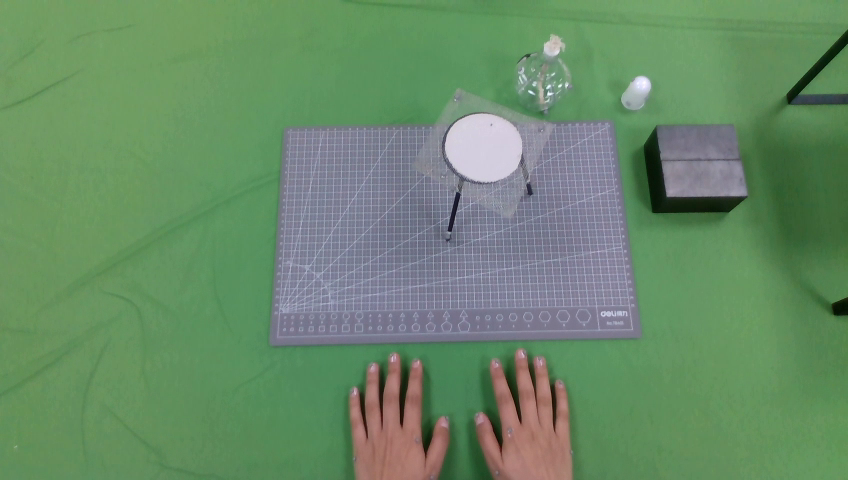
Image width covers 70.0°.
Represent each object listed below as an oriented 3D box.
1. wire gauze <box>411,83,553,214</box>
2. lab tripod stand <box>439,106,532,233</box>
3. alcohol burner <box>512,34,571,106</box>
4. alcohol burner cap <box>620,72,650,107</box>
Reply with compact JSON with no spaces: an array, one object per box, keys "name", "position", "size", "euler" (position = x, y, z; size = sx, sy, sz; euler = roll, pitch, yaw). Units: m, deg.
[{"name":"wire gauze","position":[0.065,-0.106,0.666],"size":[0.125,0.011,0.121],"euler":[26,73,8]},{"name":"lab tripod stand","position":[0.067,-0.090,0.731],"size":[0.148,0.132,0.147],"euler":[0,70,-1]},{"name":"alcohol burner","position":[0.156,-0.229,0.791],"size":[0.078,0.120,0.077],"euler":[0,71,-1]},{"name":"alcohol burner cap","position":[0.288,-0.207,0.822],"size":[0.034,0.048,0.033],"euler":[0,70,2]}]
